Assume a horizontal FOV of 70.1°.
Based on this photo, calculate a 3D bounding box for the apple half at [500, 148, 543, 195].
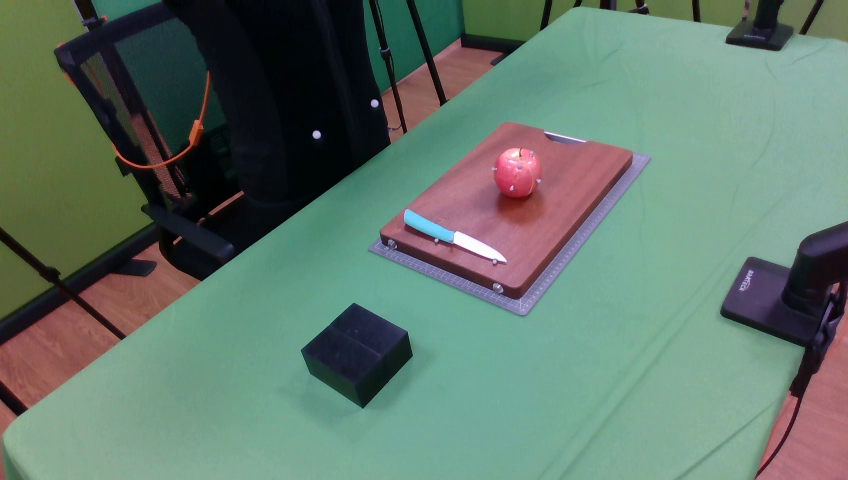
[{"bbox_3d":[0.166,-0.118,1.010,0.080,0.075,0.053,23,46,38],"label":"apple half"}]

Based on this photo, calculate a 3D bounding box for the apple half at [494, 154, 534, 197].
[{"bbox_3d":[0.140,-0.098,0.989,0.080,0.081,0.033,27,49,35],"label":"apple half"}]

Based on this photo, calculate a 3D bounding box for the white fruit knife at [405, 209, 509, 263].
[{"bbox_3d":[0.046,-0.005,0.944,0.205,0.016,0.027,24,64,32],"label":"white fruit knife"}]
